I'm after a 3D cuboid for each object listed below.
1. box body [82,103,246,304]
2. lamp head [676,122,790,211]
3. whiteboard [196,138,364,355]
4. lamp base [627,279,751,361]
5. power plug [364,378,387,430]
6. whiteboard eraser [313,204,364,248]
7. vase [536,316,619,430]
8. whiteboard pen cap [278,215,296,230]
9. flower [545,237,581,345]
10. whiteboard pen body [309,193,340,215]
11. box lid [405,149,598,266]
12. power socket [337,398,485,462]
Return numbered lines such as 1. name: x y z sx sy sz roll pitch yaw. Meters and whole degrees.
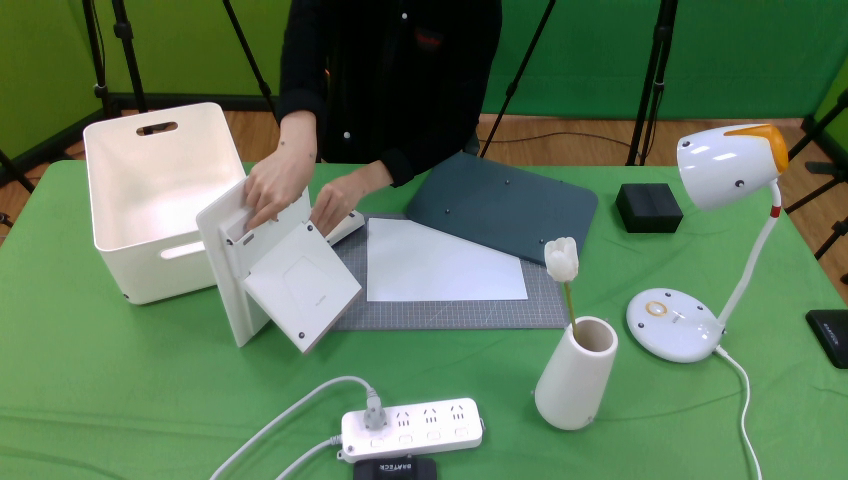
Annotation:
1. box body: -0.465 -0.076 1.137 0.254 0.161 0.361 -16 50 -19
2. lamp head: 0.423 -0.104 0.819 0.122 0.113 0.112 -13 33 40
3. whiteboard: -0.199 0.036 0.953 0.143 0.307 0.217 26 50 20
4. lamp base: 0.460 0.100 1.027 0.178 0.181 0.160 27 51 17
5. power plug: -0.071 0.252 0.911 0.035 0.053 0.072 3 40 0
6. whiteboard eraser: -0.175 -0.022 1.188 0.055 0.042 0.112 36 53 26
7. vase: 0.229 0.200 0.901 0.098 0.201 0.097 3 46 -3
8. whiteboard pen cap: -0.273 -0.035 1.213 0.033 0.018 0.018 -33 57 -30
9. flower: 0.213 0.137 0.846 0.038 0.364 0.044 21 55 40
10. whiteboard pen body: -0.230 -0.061 1.243 0.141 0.017 0.017 -32 56 -30
11. box lid: 0.171 -0.073 1.289 0.371 0.015 0.262 19 47 14
12. power socket: -0.018 0.285 0.914 0.227 0.033 0.071 -4 46 -8
